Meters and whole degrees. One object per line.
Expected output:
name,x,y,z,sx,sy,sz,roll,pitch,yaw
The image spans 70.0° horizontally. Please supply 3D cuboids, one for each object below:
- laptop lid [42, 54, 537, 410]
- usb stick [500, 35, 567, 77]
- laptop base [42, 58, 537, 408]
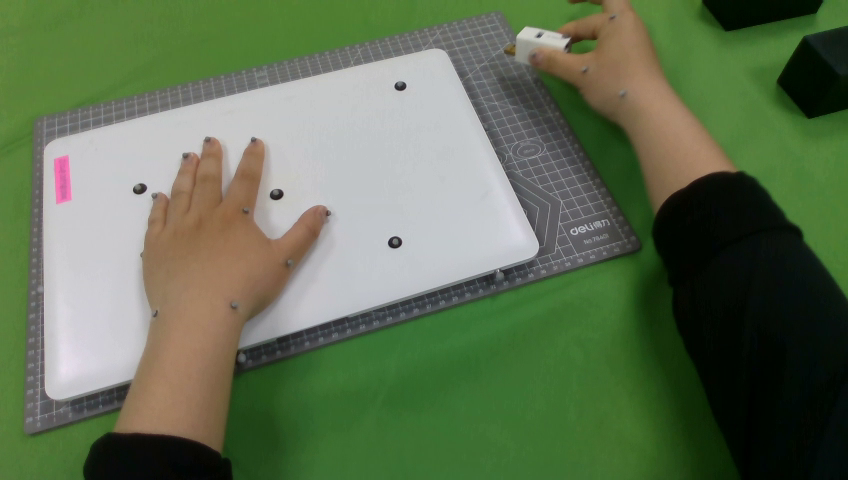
laptop lid,-0.115,-0.029,0.475,0.357,0.013,0.239,-15,61,-8
usb stick,0.095,-0.163,0.534,0.059,0.027,0.021,17,48,28
laptop base,-0.116,-0.026,0.484,0.355,0.023,0.233,-16,61,-9
